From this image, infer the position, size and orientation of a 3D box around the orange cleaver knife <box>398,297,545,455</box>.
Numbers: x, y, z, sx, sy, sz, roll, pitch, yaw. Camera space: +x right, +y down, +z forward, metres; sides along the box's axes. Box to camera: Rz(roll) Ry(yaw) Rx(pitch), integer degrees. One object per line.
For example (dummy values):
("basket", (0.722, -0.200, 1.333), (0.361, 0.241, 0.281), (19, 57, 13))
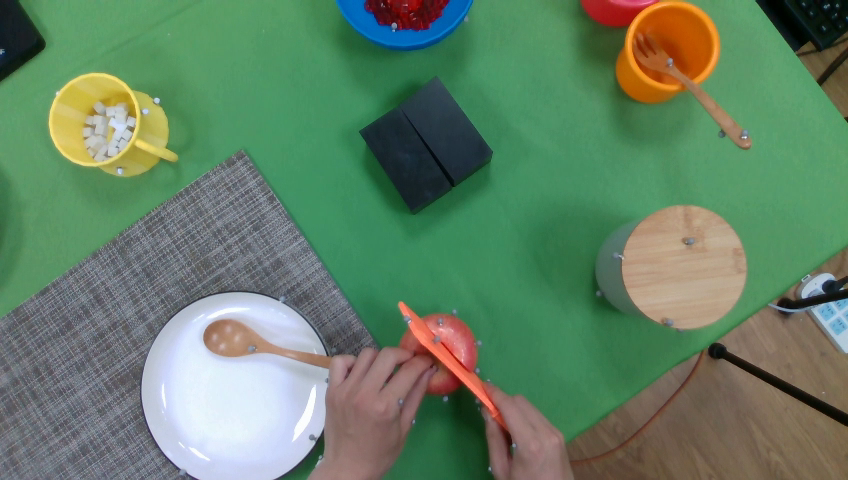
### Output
("orange cleaver knife", (0.048, 0.135, 0.605), (0.012, 0.076, 0.212), (-42, 107, 3))

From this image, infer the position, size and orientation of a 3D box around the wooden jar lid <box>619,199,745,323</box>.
("wooden jar lid", (0.225, 0.019, 0.535), (0.108, 0.021, 0.108), (0, 90, 2))

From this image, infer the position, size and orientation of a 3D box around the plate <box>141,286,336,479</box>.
("plate", (-0.197, 0.153, 0.655), (0.209, 0.038, 0.209), (0, 88, 3))

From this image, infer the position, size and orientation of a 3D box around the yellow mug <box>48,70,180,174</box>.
("yellow mug", (-0.327, -0.120, 0.660), (0.131, 0.064, 0.100), (26, 89, 3))

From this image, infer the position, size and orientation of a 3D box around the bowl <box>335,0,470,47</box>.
("bowl", (-0.018, -0.269, 0.642), (0.151, 0.077, 0.151), (0, 89, 3))

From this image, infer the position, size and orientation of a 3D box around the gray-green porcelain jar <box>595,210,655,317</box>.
("gray-green porcelain jar", (0.230, 0.022, 0.597), (0.106, 0.126, 0.105), (0, 87, 4))

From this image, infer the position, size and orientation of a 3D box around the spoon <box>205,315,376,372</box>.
("spoon", (-0.144, 0.115, 0.640), (0.193, 0.022, 0.041), (10, 76, 15))

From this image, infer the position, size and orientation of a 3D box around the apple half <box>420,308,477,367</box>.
("apple half", (0.032, 0.094, 0.632), (0.033, 0.081, 0.081), (-44, 86, -2))

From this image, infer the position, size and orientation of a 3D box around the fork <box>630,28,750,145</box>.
("fork", (0.254, -0.154, 0.589), (0.028, 0.019, 0.205), (-18, 44, 1))

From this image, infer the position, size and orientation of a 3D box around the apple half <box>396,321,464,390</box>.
("apple half", (0.001, 0.124, 0.633), (0.053, 0.074, 0.081), (-42, 91, 3))
